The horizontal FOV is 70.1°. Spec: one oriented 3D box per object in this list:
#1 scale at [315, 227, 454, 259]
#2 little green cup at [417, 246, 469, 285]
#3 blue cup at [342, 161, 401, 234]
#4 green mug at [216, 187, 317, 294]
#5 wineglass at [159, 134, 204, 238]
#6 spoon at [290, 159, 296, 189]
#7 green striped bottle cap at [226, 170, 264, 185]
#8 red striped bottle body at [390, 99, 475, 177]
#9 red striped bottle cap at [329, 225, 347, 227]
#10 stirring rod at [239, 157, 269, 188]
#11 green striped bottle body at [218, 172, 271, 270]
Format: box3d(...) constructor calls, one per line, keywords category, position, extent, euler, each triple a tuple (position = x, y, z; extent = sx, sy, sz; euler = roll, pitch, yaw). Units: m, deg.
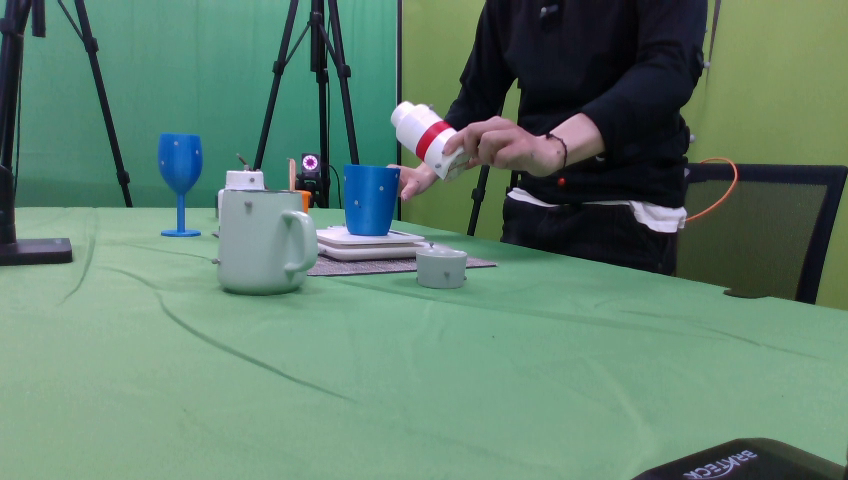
box3d(category="scale", position=(-0.066, 0.001, 0.906), extent=(0.202, 0.031, 0.148), euler=(-2, 8, -31))
box3d(category="little green cup", position=(0.021, 0.029, 0.701), extent=(0.061, 0.038, 0.061), euler=(1, 6, 0))
box3d(category="blue cup", position=(-0.079, -0.061, 0.882), extent=(0.093, 0.100, 0.092), euler=(4, 6, 0))
box3d(category="green mug", position=(-0.157, 0.000, 0.629), extent=(0.124, 0.105, 0.093), euler=(7, 9, 37))
box3d(category="wineglass", position=(-0.415, -0.093, 1.040), extent=(0.074, 0.172, 0.073), euler=(2, 7, 0))
box3d(category="spoon", position=(-0.273, -0.102, 1.252), extent=(0.042, 0.193, 0.021), euler=(7, -38, -17))
box3d(category="green striped bottle cap", position=(-0.222, -0.077, 0.748), extent=(0.044, 0.020, 0.044), euler=(1, 7, 0))
box3d(category="red striped bottle body", position=(0.007, -0.146, 0.836), extent=(0.119, 0.063, 0.063), euler=(42, 23, 18))
box3d(category="red striped bottle cap", position=(-0.152, -0.017, 1.093), extent=(0.044, 0.017, 0.044), euler=(-2, 4, 0))
box3d(category="stirring rod", position=(-0.309, -0.098, 1.209), extent=(0.006, 0.177, 0.014), euler=(-39, 29, -4))
box3d(category="green striped bottle body", position=(-0.223, -0.025, 0.755), extent=(0.063, 0.119, 0.063), euler=(2, 7, 0))
